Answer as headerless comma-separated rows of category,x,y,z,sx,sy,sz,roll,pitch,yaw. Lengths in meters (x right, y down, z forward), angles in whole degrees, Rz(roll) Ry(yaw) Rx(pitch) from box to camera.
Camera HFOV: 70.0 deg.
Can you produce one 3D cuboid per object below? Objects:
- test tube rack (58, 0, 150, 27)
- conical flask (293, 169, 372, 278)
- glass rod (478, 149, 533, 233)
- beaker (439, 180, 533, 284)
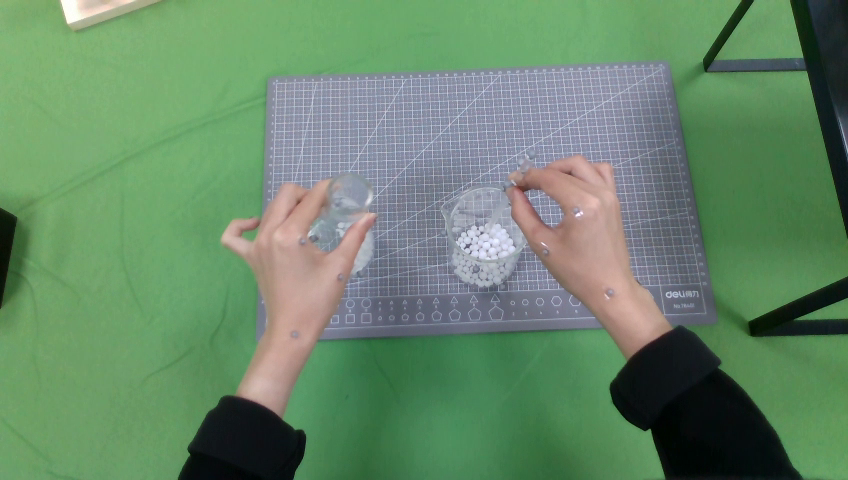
test tube rack,-0.315,-0.335,0.690,0.242,0.085,0.066,-23,73,-7
conical flask,-0.075,-0.019,0.535,0.075,0.122,0.075,5,67,-13
glass rod,0.066,-0.036,0.523,0.008,0.200,0.008,1,74,-5
beaker,0.054,-0.004,0.569,0.084,0.101,0.073,21,73,9
